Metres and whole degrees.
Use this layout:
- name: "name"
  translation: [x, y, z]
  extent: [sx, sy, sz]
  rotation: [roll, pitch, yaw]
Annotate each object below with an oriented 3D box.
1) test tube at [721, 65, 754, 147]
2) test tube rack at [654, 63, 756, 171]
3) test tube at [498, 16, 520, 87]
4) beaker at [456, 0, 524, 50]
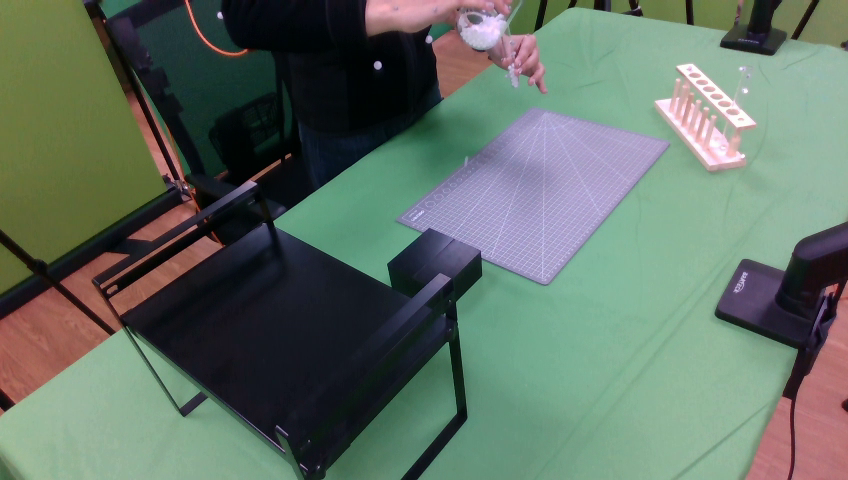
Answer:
- name: "test tube"
  translation: [0.534, -0.226, 1.031]
  extent: [0.017, 0.151, 0.017]
  rotation: [-2, 40, 2]
- name: "test tube rack"
  translation: [0.511, -0.233, 1.120]
  extent: [0.067, 0.085, 0.241]
  rotation: [-8, 41, -1]
- name: "test tube"
  translation: [0.141, -0.306, 0.993]
  extent: [0.017, 0.151, 0.017]
  rotation: [-8, 60, 14]
- name: "beaker"
  translation: [0.095, -0.329, 0.873]
  extent: [0.073, 0.084, 0.100]
  rotation: [18, 60, 19]
